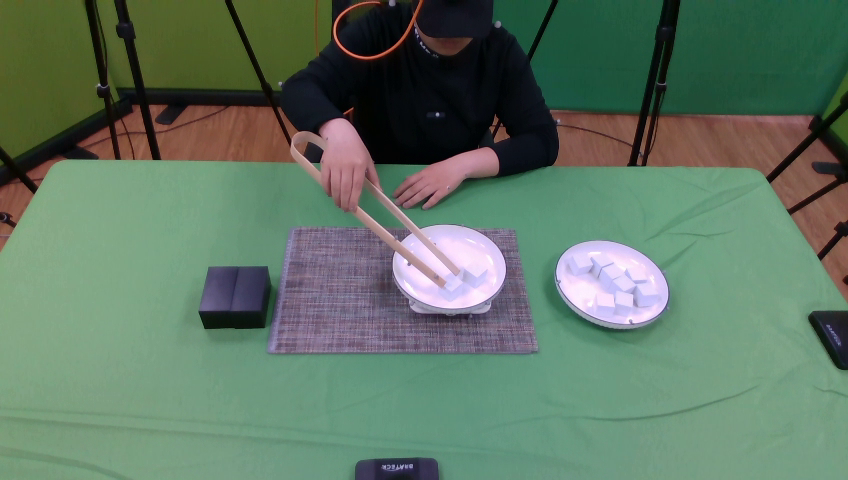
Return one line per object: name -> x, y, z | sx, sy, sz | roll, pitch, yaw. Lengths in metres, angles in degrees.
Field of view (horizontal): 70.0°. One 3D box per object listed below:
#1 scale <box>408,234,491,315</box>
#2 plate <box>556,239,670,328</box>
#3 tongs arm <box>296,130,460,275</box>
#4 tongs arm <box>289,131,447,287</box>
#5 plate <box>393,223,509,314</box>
scale -> 0.045, 0.055, 1.135 | 0.149, 0.032, 0.199 | 1, 46, -3
plate -> 0.347, 0.083, 1.130 | 0.209, 0.038, 0.208 | 2, 47, -2
tongs arm -> -0.084, -0.071, 1.082 | 0.387, 0.028, 0.028 | 42, 60, 9
tongs arm -> -0.100, -0.057, 1.067 | 0.384, 0.026, 0.050 | 39, 56, 7
plate -> 0.048, 0.053, 1.091 | 0.208, 0.039, 0.206 | 1, 46, -1
